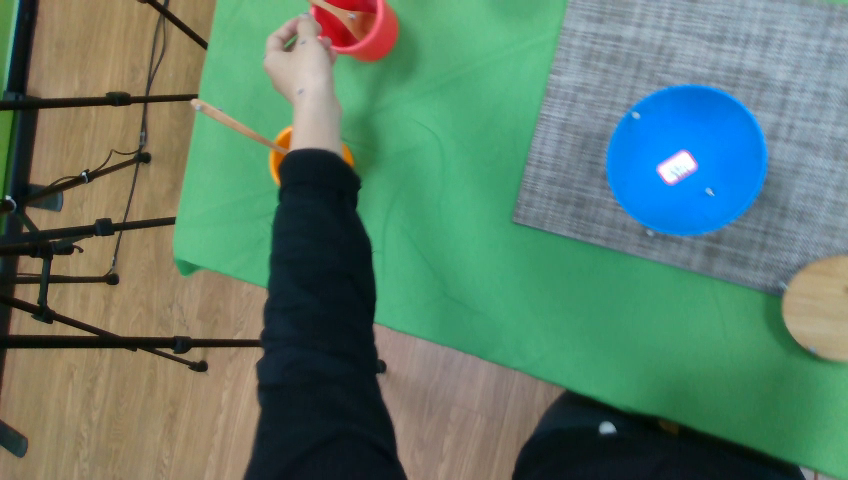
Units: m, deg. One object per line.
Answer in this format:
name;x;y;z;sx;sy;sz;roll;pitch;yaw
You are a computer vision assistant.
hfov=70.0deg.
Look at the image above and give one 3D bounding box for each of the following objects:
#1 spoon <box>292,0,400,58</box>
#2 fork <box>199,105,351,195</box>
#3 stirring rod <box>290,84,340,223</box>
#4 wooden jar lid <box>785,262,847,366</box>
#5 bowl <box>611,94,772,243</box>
spoon;-0.118;-0.278;0.740;0.195;0.021;0.041;20;98;-27
fork;-0.184;-0.112;0.762;0.209;0.018;0.028;27;113;-28
stirring rod;-0.134;-0.105;0.743;0.014;0.006;0.176;20;97;16
wooden jar lid;0.434;0.076;0.625;0.108;0.021;0.108;2;98;21
bowl;0.278;-0.072;0.643;0.151;0.077;0.151;0;91;18
